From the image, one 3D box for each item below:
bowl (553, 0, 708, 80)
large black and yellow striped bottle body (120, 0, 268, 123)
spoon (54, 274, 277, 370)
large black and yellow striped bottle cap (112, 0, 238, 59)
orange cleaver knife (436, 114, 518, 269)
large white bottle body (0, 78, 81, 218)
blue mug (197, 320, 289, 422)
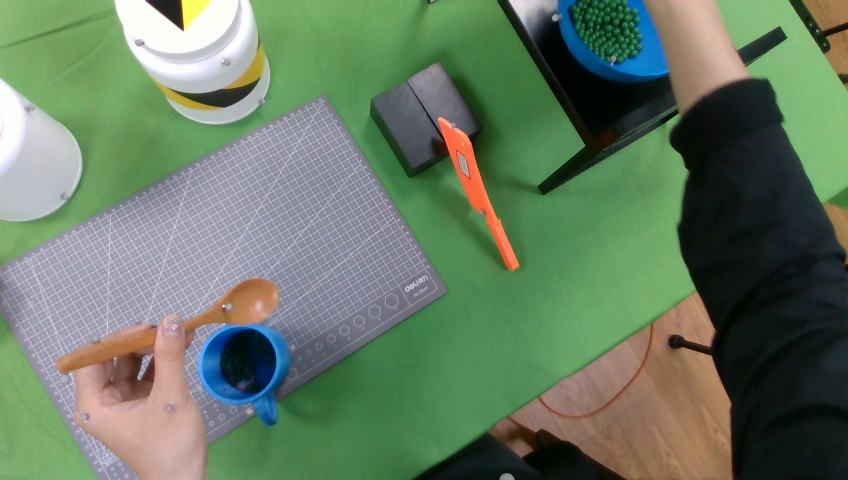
[{"bbox_3d":[0.192,-0.221,0.605,0.152,0.077,0.151,1,82,-7],"label":"bowl"},{"bbox_3d":[-0.251,-0.220,0.672,0.131,0.184,0.130,1,81,-7],"label":"large black and yellow striped bottle body"},{"bbox_3d":[-0.184,0.062,0.465,0.021,0.194,0.042,10,103,24],"label":"spoon"},{"bbox_3d":[-0.242,-0.234,0.590,0.115,0.019,0.114,1,83,-9],"label":"large black and yellow striped bottle cap"},{"bbox_3d":[0.064,-0.057,0.742,0.012,0.076,0.213,-32,118,-12],"label":"orange cleaver knife"},{"bbox_3d":[-0.460,-0.102,0.627,0.131,0.185,0.130,1,81,-7],"label":"large white bottle body"},{"bbox_3d":[-0.189,0.145,0.668,0.082,0.106,0.116,-23,86,-10],"label":"blue mug"}]
